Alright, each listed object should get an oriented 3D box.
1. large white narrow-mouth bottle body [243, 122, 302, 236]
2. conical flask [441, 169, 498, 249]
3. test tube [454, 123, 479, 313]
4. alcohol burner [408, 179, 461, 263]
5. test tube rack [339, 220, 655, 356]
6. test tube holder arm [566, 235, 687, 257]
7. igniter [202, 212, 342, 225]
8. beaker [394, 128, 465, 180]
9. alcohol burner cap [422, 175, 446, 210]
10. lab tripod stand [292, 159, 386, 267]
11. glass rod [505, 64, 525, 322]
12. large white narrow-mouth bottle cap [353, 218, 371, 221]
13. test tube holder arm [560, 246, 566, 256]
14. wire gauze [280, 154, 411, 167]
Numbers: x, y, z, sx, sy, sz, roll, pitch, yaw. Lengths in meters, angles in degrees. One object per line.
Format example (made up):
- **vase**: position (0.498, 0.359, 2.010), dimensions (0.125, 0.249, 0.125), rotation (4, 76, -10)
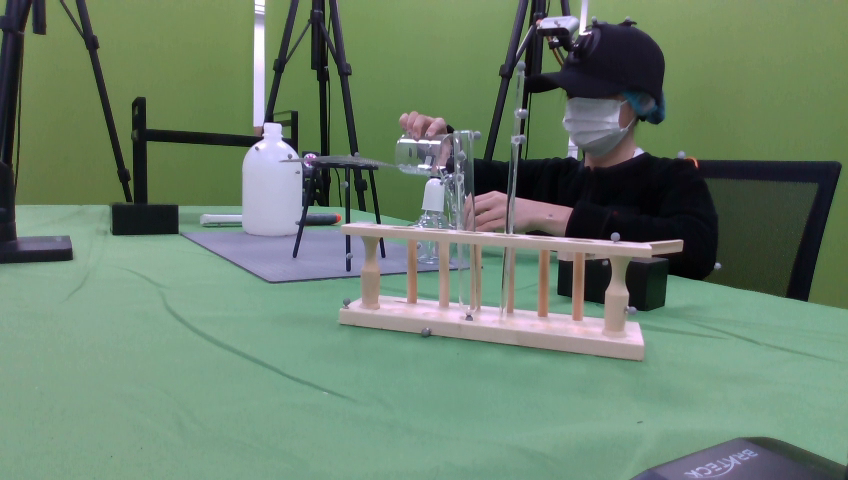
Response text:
- **large white narrow-mouth bottle body**: position (-0.264, -0.109, 1.061), dimensions (0.102, 0.194, 0.102), rotation (2, 8, 0)
- **conical flask**: position (0.065, -0.053, 0.972), dimensions (0.075, 0.121, 0.075), rotation (-20, -12, -4)
- **test tube**: position (0.034, -0.016, 0.477), dimensions (0.017, 0.150, 0.017), rotation (-2, 9, 1)
- **alcohol burner**: position (0.014, -0.029, 0.834), dimensions (0.078, 0.119, 0.078), rotation (0, 6, 0)
- **test tube rack**: position (0.056, 0.032, 0.495), dimensions (0.242, 0.085, 0.067), rotation (4, 7, 15)
- **test tube holder arm**: position (0.215, 0.006, 0.629), dimensions (0.179, 0.015, 0.013), rotation (-3, 10, -30)
- **igniter**: position (-0.298, -0.043, 1.216), dimensions (0.278, 0.025, 0.057), rotation (-3, -2, -32)
- **beaker**: position (0.007, -0.145, 1.011), dimensions (0.100, 0.084, 0.074), rotation (10, 5, 37)
- **alcohol burner cap**: position (0.016, -0.065, 0.830), dimensions (0.034, 0.048, 0.034), rotation (7, 4, 0)
- **lab tripod stand**: position (-0.105, -0.039, 0.797), dimensions (0.148, 0.131, 0.148), rotation (2, 5, 0)
- **glass rod**: position (0.069, -0.030, 0.458), dimensions (0.008, 0.199, 0.008), rotation (0, 15, 0)
- **large white narrow-mouth bottle cap**: position (-0.120, -0.029, 1.184), dimensions (0.038, 0.024, 0.037), rotation (2, 8, 0)
- **test tube holder arm**: position (0.173, 0.007, 0.611), dimensions (0.088, 0.015, 0.010), rotation (-3, 10, -30)
- **wire gauze**: position (-0.102, -0.104, 0.785), dimensions (0.121, 0.011, 0.126), rotation (8, 8, 42)
